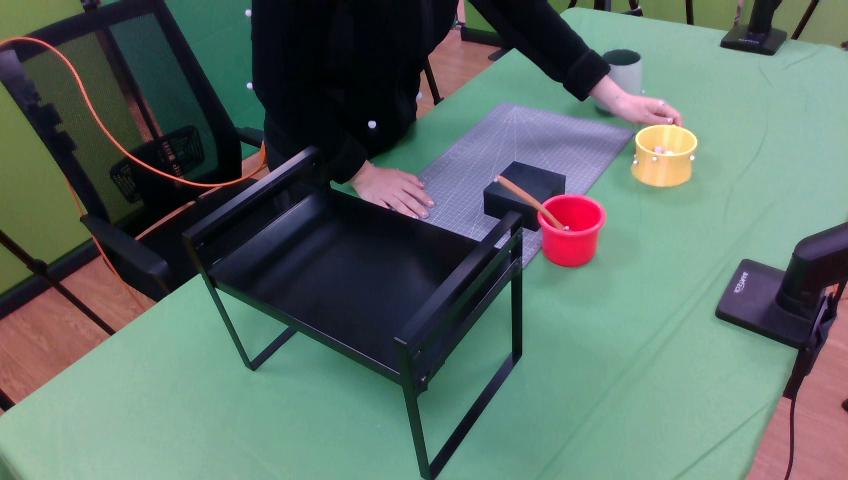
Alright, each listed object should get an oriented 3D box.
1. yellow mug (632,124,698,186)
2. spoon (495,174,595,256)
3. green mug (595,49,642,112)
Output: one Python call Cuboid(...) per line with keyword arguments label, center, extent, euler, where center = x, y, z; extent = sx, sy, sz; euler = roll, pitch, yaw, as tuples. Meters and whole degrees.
Cuboid(label="yellow mug", center=(0.424, -0.157, 1.062), extent=(0.099, 0.064, 0.131), euler=(14, 44, 24))
Cuboid(label="spoon", center=(0.181, -0.040, 0.902), extent=(0.194, 0.021, 0.041), euler=(40, 48, -13))
Cuboid(label="green mug", center=(0.398, -0.333, 1.240), extent=(0.092, 0.105, 0.125), euler=(-2, 41, 7))
